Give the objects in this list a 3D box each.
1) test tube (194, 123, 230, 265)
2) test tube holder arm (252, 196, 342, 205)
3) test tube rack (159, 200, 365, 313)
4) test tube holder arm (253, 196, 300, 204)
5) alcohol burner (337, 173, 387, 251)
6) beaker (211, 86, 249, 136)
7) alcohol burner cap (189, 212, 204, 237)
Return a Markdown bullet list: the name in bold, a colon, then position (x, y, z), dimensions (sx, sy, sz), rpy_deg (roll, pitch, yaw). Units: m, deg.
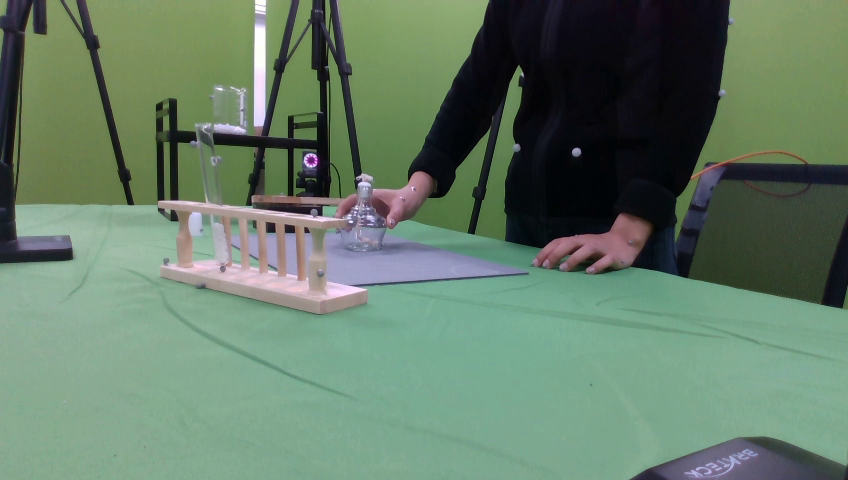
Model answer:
- **test tube**: position (-0.218, -0.045, 0.624), dimensions (0.017, 0.150, 0.017), rpy_deg (-2, 19, 1)
- **test tube holder arm**: position (-0.241, -0.076, 1.165), dimensions (0.179, 0.015, 0.013), rpy_deg (-1, 8, -33)
- **test tube rack**: position (-0.173, 0.009, 0.624), dimensions (0.241, 0.085, 0.067), rpy_deg (7, 9, 34)
- **test tube holder arm**: position (-0.276, -0.075, 1.135), dimensions (0.088, 0.015, 0.010), rpy_deg (-1, 8, -32)
- **alcohol burner**: position (-0.094, -0.043, 0.926), dimensions (0.078, 0.119, 0.078), rpy_deg (3, 6, 0)
- **beaker**: position (-0.413, -0.274, 1.297), dimensions (0.074, 0.100, 0.083), rpy_deg (-5, 11, -44)
- **alcohol burner cap**: position (-0.389, -0.029, 1.025), dimensions (0.034, 0.048, 0.034), rpy_deg (3, 8, 0)
